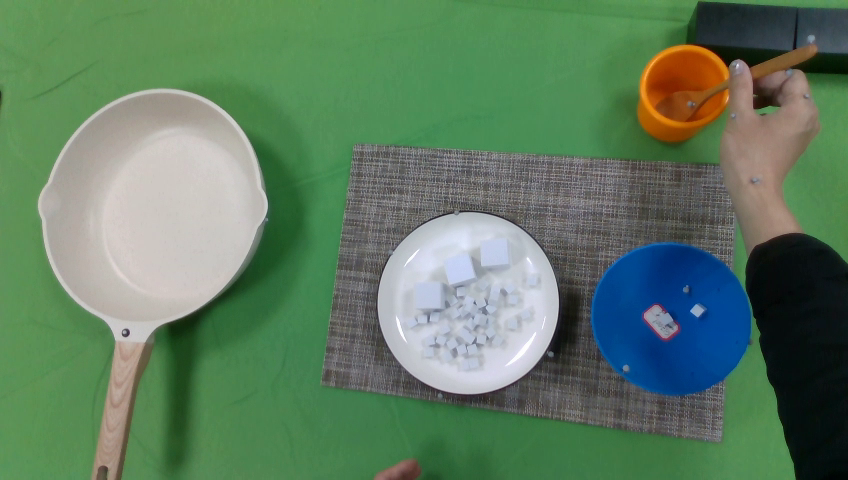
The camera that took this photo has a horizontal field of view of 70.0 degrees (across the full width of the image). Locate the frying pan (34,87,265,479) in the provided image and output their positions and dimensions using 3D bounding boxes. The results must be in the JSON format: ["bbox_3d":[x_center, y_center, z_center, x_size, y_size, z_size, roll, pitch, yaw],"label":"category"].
[{"bbox_3d":[-0.341,0.059,0.730,0.306,0.103,0.485,3,74,11],"label":"frying pan"}]

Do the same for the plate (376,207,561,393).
[{"bbox_3d":[0.050,0.067,0.689,0.207,0.039,0.207,-1,82,10],"label":"plate"}]

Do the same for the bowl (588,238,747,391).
[{"bbox_3d":[0.244,0.078,0.631,0.151,0.077,0.151,-1,81,10],"label":"bowl"}]

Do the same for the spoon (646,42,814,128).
[{"bbox_3d":[0.290,-0.151,0.596,0.022,0.193,0.041,7,82,-17],"label":"spoon"}]
